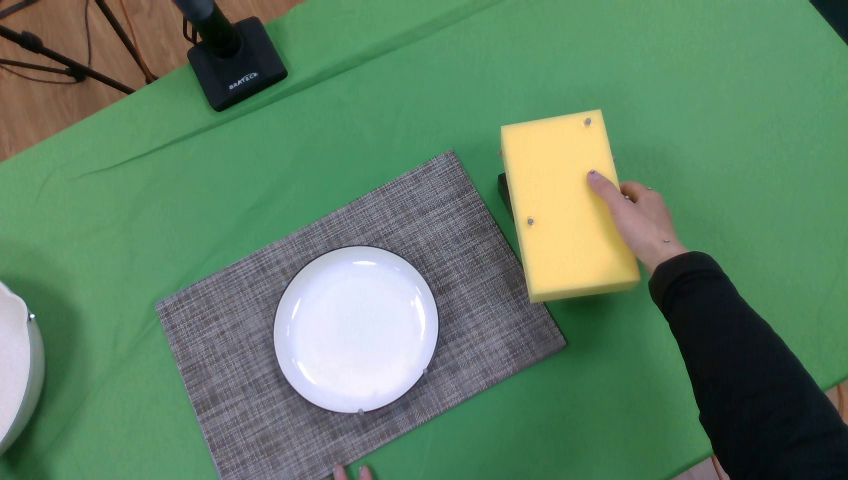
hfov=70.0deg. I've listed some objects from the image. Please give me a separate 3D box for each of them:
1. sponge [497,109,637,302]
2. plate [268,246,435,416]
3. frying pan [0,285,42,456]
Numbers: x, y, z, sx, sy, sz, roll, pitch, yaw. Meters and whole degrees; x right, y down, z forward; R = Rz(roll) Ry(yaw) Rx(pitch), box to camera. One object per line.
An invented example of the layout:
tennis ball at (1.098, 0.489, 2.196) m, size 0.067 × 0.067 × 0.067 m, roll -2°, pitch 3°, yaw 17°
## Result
sponge at (0.161, -0.040, 0.706) m, size 0.118 × 0.061 × 0.205 m, roll -10°, pitch 74°, yaw 4°
plate at (-0.088, 0.112, 0.753) m, size 0.207 × 0.039 × 0.206 m, roll -1°, pitch 75°, yaw 6°
frying pan at (-0.567, 0.255, 0.735) m, size 0.307 × 0.103 × 0.483 m, roll -36°, pitch 66°, yaw -3°
